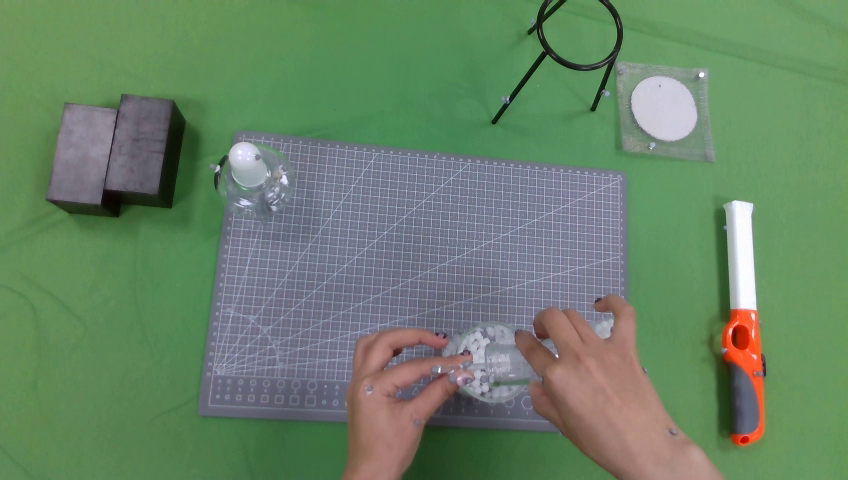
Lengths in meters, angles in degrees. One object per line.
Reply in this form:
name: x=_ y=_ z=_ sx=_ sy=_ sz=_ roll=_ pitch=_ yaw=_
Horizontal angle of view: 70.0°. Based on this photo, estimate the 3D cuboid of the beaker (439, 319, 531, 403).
beaker: x=0.058 y=0.118 z=0.602 sx=0.084 sy=0.100 sz=0.074 roll=-38 pitch=86 yaw=-14

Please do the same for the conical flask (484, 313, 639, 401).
conical flask: x=0.113 y=0.102 z=0.518 sx=0.122 sy=0.075 sz=0.075 roll=-3 pitch=79 yaw=0

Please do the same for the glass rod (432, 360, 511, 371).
glass rod: x=0.048 y=0.111 z=0.532 sx=0.008 sy=0.201 sz=0.008 roll=-4 pitch=78 yaw=23

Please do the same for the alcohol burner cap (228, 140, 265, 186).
alcohol burner cap: x=-0.166 y=-0.074 z=0.561 sx=0.034 sy=0.048 sz=0.033 roll=3 pitch=71 yaw=-9

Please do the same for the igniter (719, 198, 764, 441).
igniter: x=0.362 y=0.087 z=0.694 sx=0.057 sy=0.025 sz=0.275 roll=8 pitch=78 yaw=-18

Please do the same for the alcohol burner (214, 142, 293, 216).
alcohol burner: x=-0.170 y=-0.065 z=0.596 sx=0.078 sy=0.119 sz=0.077 roll=1 pitch=79 yaw=-6

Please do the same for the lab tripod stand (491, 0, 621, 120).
lab tripod stand: x=0.143 y=-0.197 z=0.663 sx=0.149 sy=0.131 sz=0.148 roll=1 pitch=80 yaw=-8

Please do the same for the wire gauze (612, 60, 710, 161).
wire gauze: x=0.292 y=-0.161 z=0.742 sx=0.125 sy=0.011 sz=0.121 roll=4 pitch=79 yaw=-10
